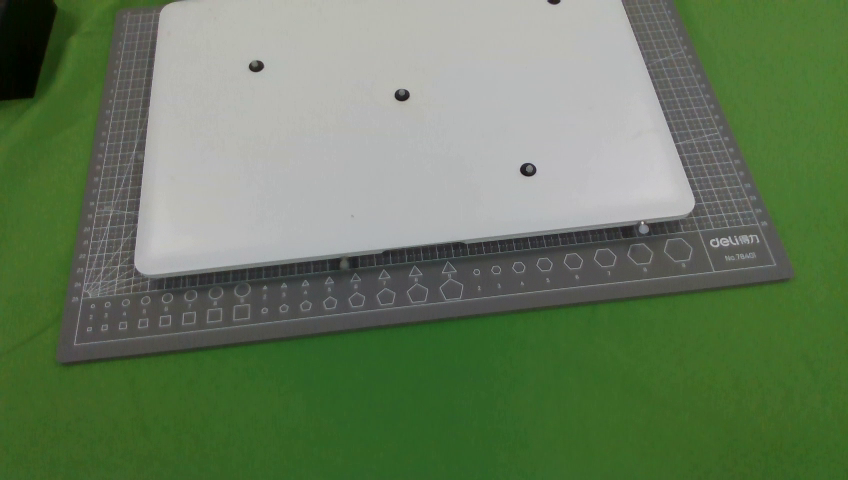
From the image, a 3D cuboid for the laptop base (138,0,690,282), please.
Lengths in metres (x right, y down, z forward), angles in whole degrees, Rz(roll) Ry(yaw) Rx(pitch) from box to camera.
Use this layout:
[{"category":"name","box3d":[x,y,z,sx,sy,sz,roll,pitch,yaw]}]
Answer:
[{"category":"laptop base","box3d":[-0.015,-0.093,0.436,0.355,0.023,0.233,-7,65,-3]}]

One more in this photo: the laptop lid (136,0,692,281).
[{"category":"laptop lid","box3d":[-0.015,-0.096,0.425,0.357,0.013,0.239,-5,64,-2]}]
